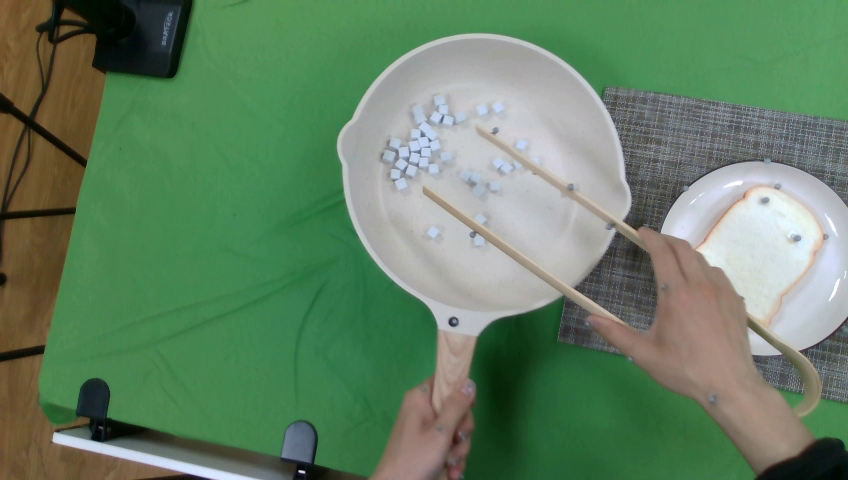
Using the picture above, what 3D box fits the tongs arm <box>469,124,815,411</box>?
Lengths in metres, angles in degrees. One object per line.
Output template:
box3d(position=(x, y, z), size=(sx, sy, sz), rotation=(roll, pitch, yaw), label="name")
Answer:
box3d(position=(0.181, 0.014, 0.558), size=(0.382, 0.027, 0.050), rotation=(37, 81, 16), label="tongs arm")

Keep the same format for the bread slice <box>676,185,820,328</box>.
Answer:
box3d(position=(0.350, 0.009, 0.649), size=(0.106, 0.018, 0.134), rotation=(35, 91, 9), label="bread slice")

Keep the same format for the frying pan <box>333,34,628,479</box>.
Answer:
box3d(position=(0.039, 0.033, 0.616), size=(0.307, 0.103, 0.485), rotation=(12, 75, -5), label="frying pan")

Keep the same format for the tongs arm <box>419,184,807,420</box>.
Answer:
box3d(position=(0.151, 0.050, 0.552), size=(0.385, 0.028, 0.028), rotation=(34, 77, 16), label="tongs arm")

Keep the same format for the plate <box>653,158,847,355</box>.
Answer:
box3d(position=(0.350, 0.017, 0.647), size=(0.207, 0.039, 0.207), rotation=(-1, 84, 8), label="plate")
